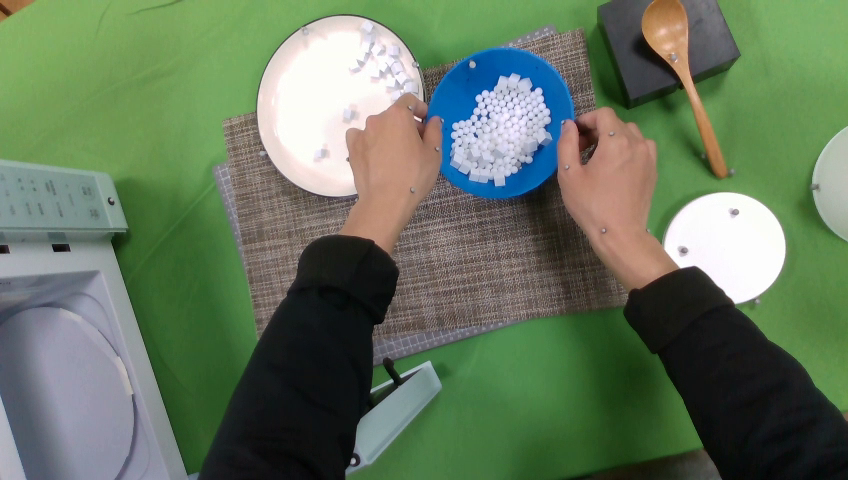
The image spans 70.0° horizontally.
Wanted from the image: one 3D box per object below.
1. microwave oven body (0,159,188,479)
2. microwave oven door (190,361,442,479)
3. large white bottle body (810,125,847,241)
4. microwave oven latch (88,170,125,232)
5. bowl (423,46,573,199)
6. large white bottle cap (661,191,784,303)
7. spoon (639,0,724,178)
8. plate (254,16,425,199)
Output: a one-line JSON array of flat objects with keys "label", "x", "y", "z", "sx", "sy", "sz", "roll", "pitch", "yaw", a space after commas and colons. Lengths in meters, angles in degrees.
[{"label": "microwave oven body", "x": -0.513, "y": 0.169, "z": 0.709, "sx": 0.326, "sy": 0.261, "sz": 0.441, "roll": -21, "pitch": 87, "yaw": 14}, {"label": "microwave oven door", "x": -0.167, "y": 0.238, "z": 0.616, "sx": 0.356, "sy": 0.244, "sz": 0.039, "roll": -29, "pitch": 83, "yaw": 14}, {"label": "large white bottle body", "x": 0.420, "y": -0.055, "z": 0.499, "sx": 0.130, "sy": 0.185, "sz": 0.130, "roll": 0, "pitch": 91, "yaw": 15}, {"label": "microwave oven latch", "x": -0.414, "y": -0.049, "z": 0.776, "sx": 0.030, "sy": 0.029, "sz": 0.079, "roll": -20, "pitch": 87, "yaw": 14}, {"label": "bowl", "x": 0.081, "y": -0.116, "z": 0.637, "sx": 0.151, "sy": 0.077, "sz": 0.151, "roll": 0, "pitch": 92, "yaw": 15}, {"label": "large white bottle cap", "x": 0.303, "y": 0.007, "z": 0.618, "sx": 0.114, "sy": 0.018, "sz": 0.115, "roll": 0, "pitch": 92, "yaw": 13}, {"label": "spoon", "x": 0.256, "y": -0.142, "z": 0.588, "sx": 0.041, "sy": 0.021, "sz": 0.195, "roll": -26, "pitch": 107, "yaw": 12}, {"label": "plate", "x": -0.096, "y": -0.150, "z": 0.704, "sx": 0.208, "sy": 0.038, "sz": 0.209, "roll": 0, "pitch": 91, "yaw": 15}]
